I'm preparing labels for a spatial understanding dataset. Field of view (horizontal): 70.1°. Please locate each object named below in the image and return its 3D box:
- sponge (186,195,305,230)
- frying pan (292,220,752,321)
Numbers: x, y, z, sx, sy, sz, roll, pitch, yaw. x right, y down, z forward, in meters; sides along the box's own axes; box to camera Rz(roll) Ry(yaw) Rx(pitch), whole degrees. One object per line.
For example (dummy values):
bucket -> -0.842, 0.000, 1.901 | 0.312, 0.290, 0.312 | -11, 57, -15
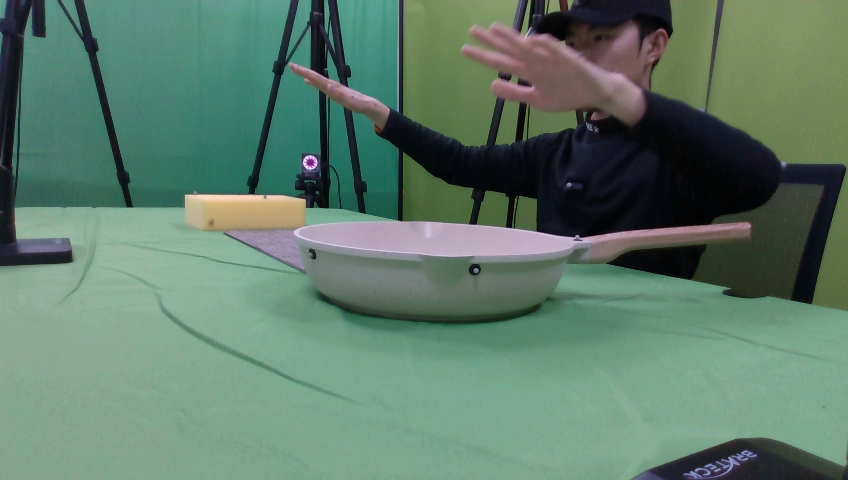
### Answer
sponge -> -0.358, -0.057, 1.219 | 0.208, 0.061, 0.117 | -3, 8, -37
frying pan -> 0.112, 0.012, 0.644 | 0.488, 0.102, 0.306 | -6, 8, -2
